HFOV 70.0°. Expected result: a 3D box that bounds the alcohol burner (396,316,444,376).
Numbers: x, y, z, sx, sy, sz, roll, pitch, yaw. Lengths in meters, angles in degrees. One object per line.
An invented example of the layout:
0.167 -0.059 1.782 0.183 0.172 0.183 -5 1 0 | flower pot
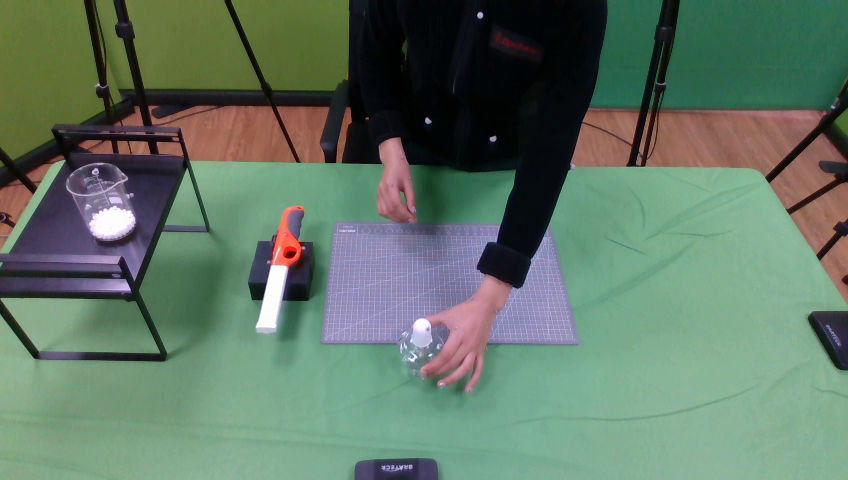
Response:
-0.006 0.161 0.957 0.078 0.120 0.077 0 46 0 | alcohol burner

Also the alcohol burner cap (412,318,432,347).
-0.003 0.140 0.936 0.034 0.048 0.033 1 48 -1 | alcohol burner cap

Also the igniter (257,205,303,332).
-0.252 0.041 1.069 0.057 0.025 0.275 3 49 -2 | igniter

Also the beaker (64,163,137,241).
-0.477 -0.054 0.910 0.084 0.101 0.073 -9 48 -13 | beaker
